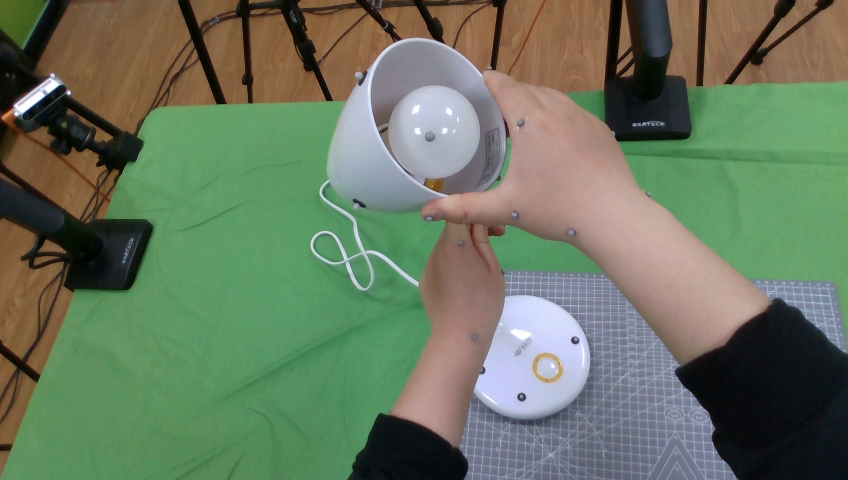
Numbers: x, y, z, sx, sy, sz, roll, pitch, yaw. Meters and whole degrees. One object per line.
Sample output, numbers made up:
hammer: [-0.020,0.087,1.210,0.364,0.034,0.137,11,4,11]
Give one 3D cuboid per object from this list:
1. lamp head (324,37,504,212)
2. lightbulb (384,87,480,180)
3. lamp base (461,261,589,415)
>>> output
lamp head: [-0.016,-0.067,0.440,0.113,0.123,0.112,9,71,-27]
lightbulb: [-0.005,-0.063,0.417,0.060,0.107,0.059,9,70,-26]
lamp base: [0.101,0.098,0.703,0.178,0.182,0.160,26,69,26]
